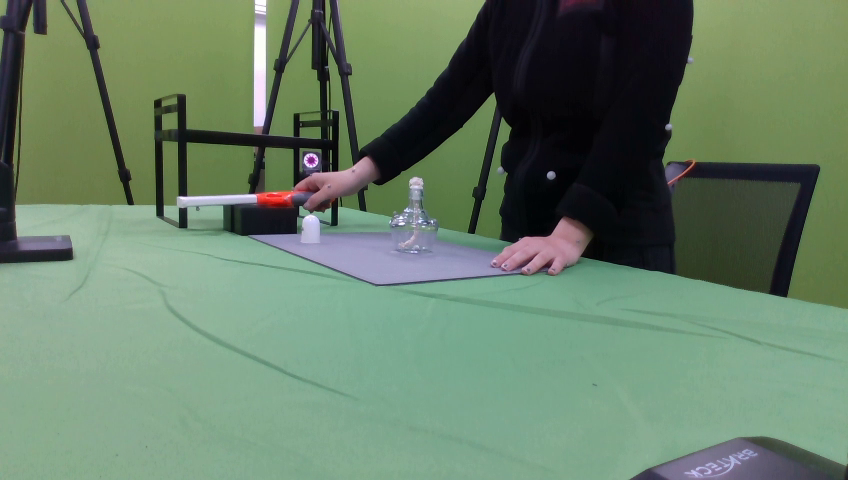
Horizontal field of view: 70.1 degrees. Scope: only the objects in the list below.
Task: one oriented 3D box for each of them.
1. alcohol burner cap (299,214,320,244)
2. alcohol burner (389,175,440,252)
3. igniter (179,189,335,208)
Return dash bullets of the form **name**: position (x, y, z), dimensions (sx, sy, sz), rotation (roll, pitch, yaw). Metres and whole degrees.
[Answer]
- **alcohol burner cap**: position (-0.185, -0.018, 0.979), dimensions (0.034, 0.048, 0.034), rotation (3, 8, 0)
- **alcohol burner**: position (-0.013, -0.041, 0.929), dimensions (0.078, 0.119, 0.078), rotation (4, 8, 0)
- **igniter**: position (-0.296, -0.075, 1.101), dimensions (0.278, 0.025, 0.057), rotation (-5, 12, -31)
